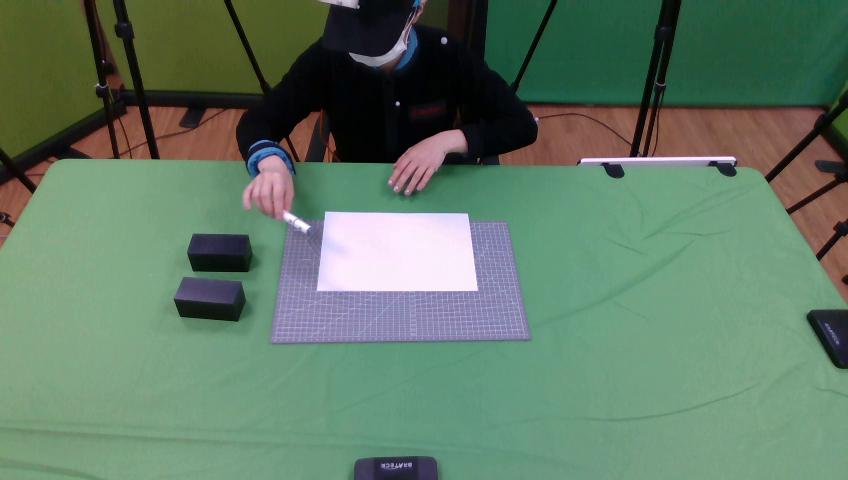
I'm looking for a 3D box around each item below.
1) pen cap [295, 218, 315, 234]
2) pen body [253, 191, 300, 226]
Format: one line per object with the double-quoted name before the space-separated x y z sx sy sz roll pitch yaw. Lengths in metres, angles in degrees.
"pen cap" -0.208 -0.025 1.066 0.038 0.017 0.017 31 52 27
"pen body" -0.257 -0.052 1.094 0.143 0.017 0.017 30 51 26
